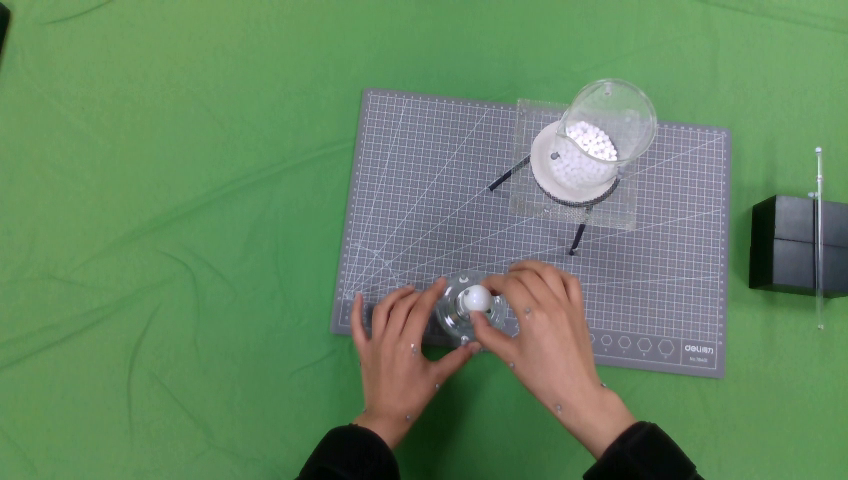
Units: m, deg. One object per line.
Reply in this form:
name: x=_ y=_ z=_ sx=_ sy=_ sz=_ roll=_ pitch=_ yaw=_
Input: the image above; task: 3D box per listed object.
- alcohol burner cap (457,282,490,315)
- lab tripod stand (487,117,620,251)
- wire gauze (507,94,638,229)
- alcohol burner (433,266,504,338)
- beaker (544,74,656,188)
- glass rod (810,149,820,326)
alcohol burner cap: x=0.049 y=0.056 z=0.589 sx=0.034 sy=0.048 sz=0.033 roll=0 pitch=80 yaw=1
lab tripod stand: x=0.148 y=-0.070 z=0.654 sx=0.148 sy=0.132 sz=0.147 roll=0 pitch=78 yaw=-1
wire gauze: x=0.145 y=-0.079 z=0.589 sx=0.125 sy=0.011 sz=0.121 roll=8 pitch=81 yaw=-2
alcohol burner: x=0.049 y=0.065 z=0.639 sx=0.078 sy=0.119 sz=0.077 roll=0 pitch=82 yaw=-2
beaker: x=0.149 y=-0.091 z=0.543 sx=0.084 sy=0.100 sz=0.073 roll=-9 pitch=80 yaw=-3
glass rod: x=0.431 y=-0.005 z=0.667 sx=0.008 sy=0.008 sz=0.199 roll=7 pitch=81 yaw=0
